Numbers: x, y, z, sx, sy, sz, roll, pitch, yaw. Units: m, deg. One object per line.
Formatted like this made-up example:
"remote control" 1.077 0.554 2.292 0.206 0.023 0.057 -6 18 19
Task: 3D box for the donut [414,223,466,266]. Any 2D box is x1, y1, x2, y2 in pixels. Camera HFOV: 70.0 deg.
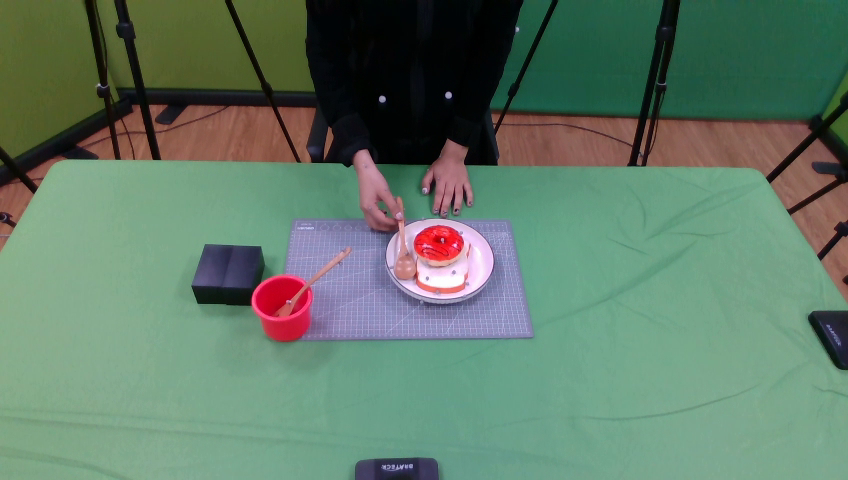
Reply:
"donut" 0.030 0.008 1.140 0.099 0.048 0.098 0 42 0

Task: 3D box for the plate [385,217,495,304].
"plate" 0.030 0.041 1.146 0.209 0.038 0.208 2 46 -2

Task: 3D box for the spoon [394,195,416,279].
"spoon" -0.041 -0.009 1.164 0.041 0.022 0.192 -5 62 -1

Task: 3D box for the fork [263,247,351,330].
"fork" -0.197 0.081 1.016 0.207 0.019 0.028 -44 51 14

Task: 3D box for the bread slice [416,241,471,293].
"bread slice" 0.036 0.046 1.144 0.105 0.019 0.131 4 45 1
